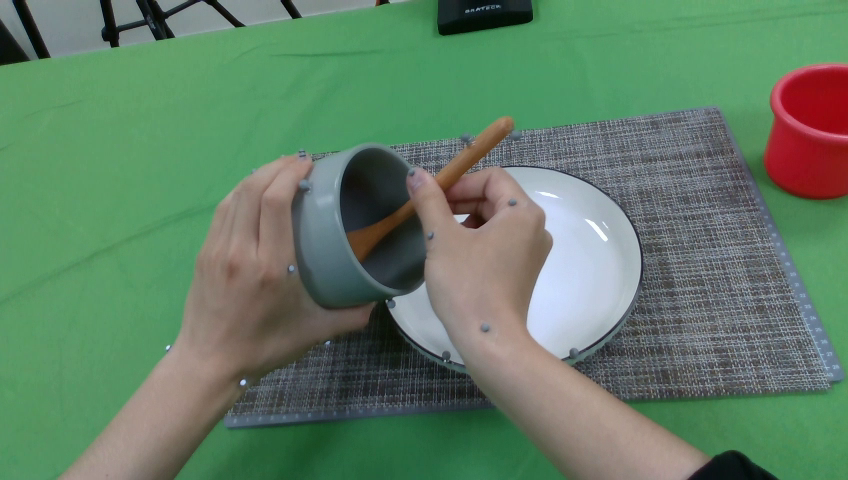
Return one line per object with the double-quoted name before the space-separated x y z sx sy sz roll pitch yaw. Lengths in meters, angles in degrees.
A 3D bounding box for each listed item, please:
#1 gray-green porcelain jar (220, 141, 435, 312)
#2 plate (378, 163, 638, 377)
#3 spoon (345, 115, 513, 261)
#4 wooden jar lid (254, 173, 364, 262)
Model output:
"gray-green porcelain jar" -0.073 -0.004 0.437 0.126 0.107 0.105 -12 45 33
"plate" 0.064 0.022 0.494 0.207 0.039 0.205 -6 50 8
"spoon" -0.016 -0.021 0.404 0.194 0.022 0.041 -36 59 25
"wooden jar lid" -0.109 -0.021 0.582 0.108 0.021 0.107 -6 49 7
